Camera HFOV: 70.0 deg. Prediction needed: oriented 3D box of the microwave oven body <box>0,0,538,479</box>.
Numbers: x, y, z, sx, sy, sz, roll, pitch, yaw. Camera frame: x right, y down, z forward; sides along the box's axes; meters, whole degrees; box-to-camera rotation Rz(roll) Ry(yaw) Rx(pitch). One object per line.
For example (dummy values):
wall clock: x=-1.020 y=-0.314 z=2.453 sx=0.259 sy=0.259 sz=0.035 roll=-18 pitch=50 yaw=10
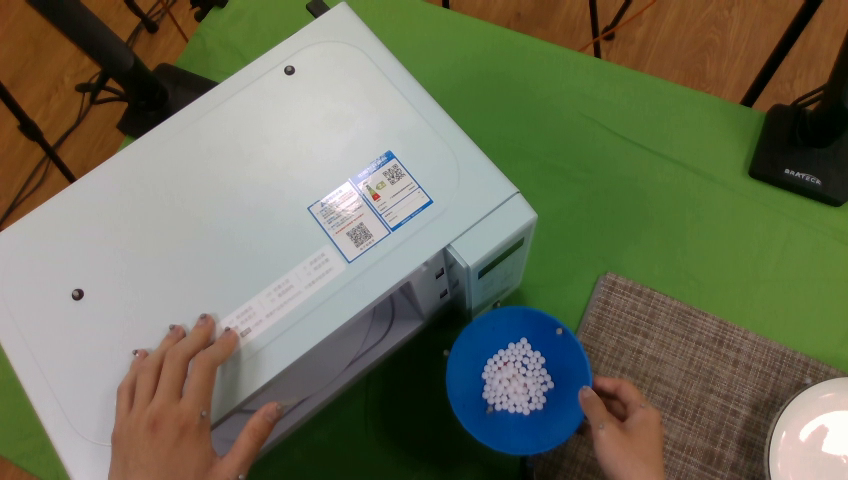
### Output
microwave oven body: x=-0.157 y=0.023 z=0.652 sx=0.441 sy=0.262 sz=0.324 roll=-37 pitch=73 yaw=-7

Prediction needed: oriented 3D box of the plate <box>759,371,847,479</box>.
plate: x=0.463 y=0.246 z=0.646 sx=0.207 sy=0.039 sz=0.206 roll=-1 pitch=71 yaw=4

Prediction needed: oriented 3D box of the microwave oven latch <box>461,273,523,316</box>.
microwave oven latch: x=0.081 y=0.057 z=0.725 sx=0.079 sy=0.030 sz=0.030 roll=-35 pitch=73 yaw=-7

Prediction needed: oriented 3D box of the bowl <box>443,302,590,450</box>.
bowl: x=0.097 y=0.149 z=0.654 sx=0.151 sy=0.077 sz=0.150 roll=-1 pitch=71 yaw=3
